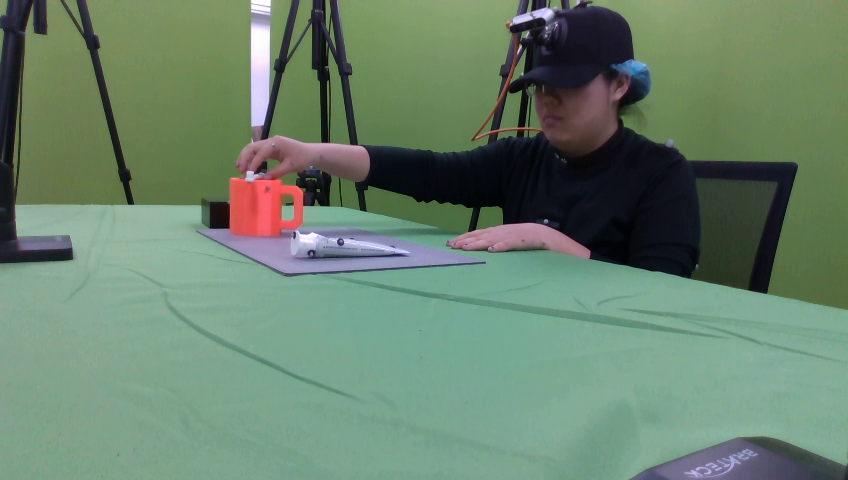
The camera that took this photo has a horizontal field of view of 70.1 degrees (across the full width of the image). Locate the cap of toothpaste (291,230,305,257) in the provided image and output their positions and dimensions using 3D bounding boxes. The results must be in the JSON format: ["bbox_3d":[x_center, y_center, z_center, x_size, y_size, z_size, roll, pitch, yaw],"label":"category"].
[{"bbox_3d":[-0.169,0.005,0.812,0.011,0.037,0.037,6,4,-30],"label":"cap of toothpaste"}]

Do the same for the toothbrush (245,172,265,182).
[{"bbox_3d":[-0.292,-0.112,1.050,0.014,0.016,0.181,-6,9,-8],"label":"toothbrush"}]

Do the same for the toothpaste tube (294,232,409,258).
[{"bbox_3d":[-0.103,0.010,0.853,0.166,0.034,0.055,3,10,-34],"label":"toothpaste tube"}]

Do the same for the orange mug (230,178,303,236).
[{"bbox_3d":[-0.275,-0.060,1.058,0.126,0.101,0.083,-2,8,-5],"label":"orange mug"}]
